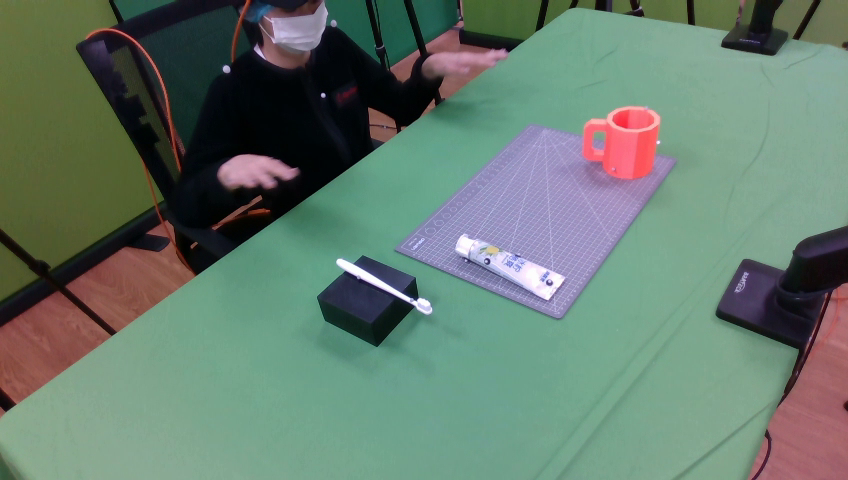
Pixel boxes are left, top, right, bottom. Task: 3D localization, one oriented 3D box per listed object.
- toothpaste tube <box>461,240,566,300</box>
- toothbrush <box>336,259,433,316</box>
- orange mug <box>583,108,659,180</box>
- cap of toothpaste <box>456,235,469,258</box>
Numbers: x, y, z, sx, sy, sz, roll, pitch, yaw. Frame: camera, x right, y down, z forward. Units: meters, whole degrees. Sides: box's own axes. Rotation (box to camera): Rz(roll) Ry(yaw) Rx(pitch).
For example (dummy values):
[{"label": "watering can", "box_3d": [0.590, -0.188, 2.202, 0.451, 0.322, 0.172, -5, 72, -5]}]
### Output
[{"label": "toothpaste tube", "box_3d": [0.125, 0.040, 0.900, 0.164, 0.035, 0.055, 23, 55, 27]}, {"label": "toothbrush", "box_3d": [-0.059, 0.062, 0.839, 0.180, 0.017, 0.014, 24, 53, 33]}, {"label": "orange mug", "box_3d": [0.343, -0.171, 1.061, 0.126, 0.101, 0.083, 10, 43, 15]}, {"label": "cap of toothpaste", "box_3d": [0.062, 0.010, 0.936, 0.011, 0.037, 0.037, 23, 49, 27]}]
